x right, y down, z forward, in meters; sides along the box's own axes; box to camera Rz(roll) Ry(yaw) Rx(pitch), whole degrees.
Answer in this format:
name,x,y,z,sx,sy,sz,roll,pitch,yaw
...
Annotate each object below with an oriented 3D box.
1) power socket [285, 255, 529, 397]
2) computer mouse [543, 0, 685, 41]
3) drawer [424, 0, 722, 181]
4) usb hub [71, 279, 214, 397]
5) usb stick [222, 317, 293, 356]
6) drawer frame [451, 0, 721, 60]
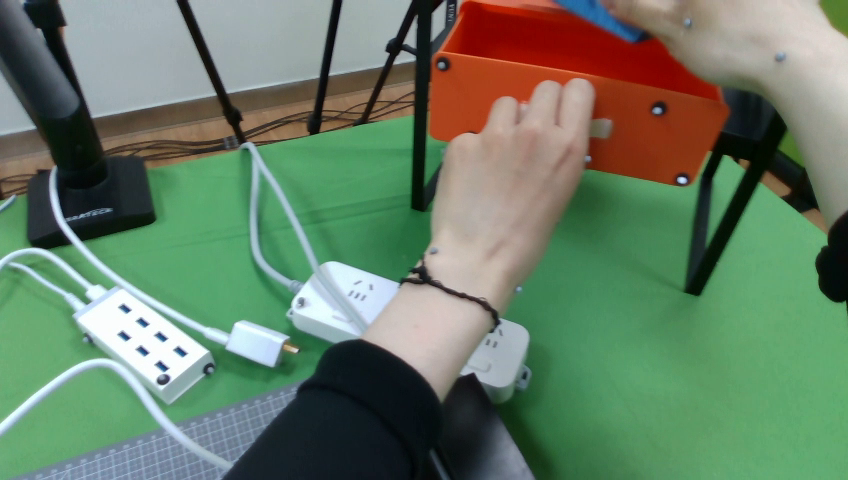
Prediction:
name,x,y,z,sx,sy,sz,roll,pitch,yaw
power socket,-0.015,0.073,0.540,0.226,0.033,0.072,18,46,15
computer mouse,0.121,-0.182,0.422,0.116,0.041,0.063,36,57,28
drawer,0.119,-0.152,0.485,0.194,0.074,0.210,12,45,8
usb hub,-0.244,0.082,0.522,0.124,0.025,0.049,28,50,23
usb stick,-0.141,0.084,0.522,0.059,0.021,0.027,14,86,-9
drawer frame,0.139,-0.213,0.546,0.201,0.083,0.212,10,45,7
